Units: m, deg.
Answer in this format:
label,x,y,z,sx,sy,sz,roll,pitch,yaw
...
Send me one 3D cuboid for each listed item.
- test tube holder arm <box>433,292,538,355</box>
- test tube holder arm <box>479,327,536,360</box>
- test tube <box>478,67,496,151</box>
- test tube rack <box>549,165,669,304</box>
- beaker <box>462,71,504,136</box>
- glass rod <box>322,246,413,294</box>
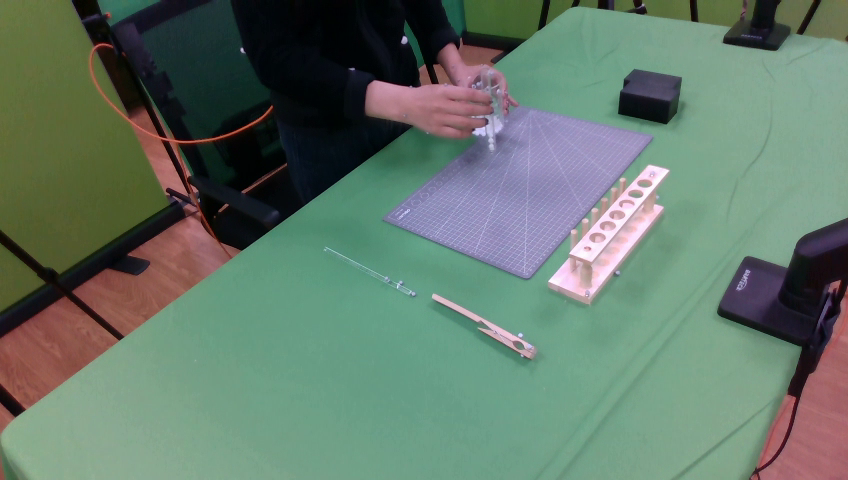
label,x,y,z,sx,sy,sz,roll,pitch,yaw
test tube holder arm,0.081,0.112,0.832,0.177,0.015,0.013,28,82,36
test tube holder arm,0.110,0.134,0.805,0.087,0.015,0.010,29,82,36
test tube,0.100,-0.202,0.949,0.017,0.151,0.017,-6,45,7
test tube rack,0.279,-0.018,0.902,0.066,0.085,0.243,24,50,33
beaker,0.109,-0.249,1.123,0.084,0.101,0.073,-36,44,-28
glass rod,-0.093,0.045,0.956,0.198,0.008,0.008,24,51,33
